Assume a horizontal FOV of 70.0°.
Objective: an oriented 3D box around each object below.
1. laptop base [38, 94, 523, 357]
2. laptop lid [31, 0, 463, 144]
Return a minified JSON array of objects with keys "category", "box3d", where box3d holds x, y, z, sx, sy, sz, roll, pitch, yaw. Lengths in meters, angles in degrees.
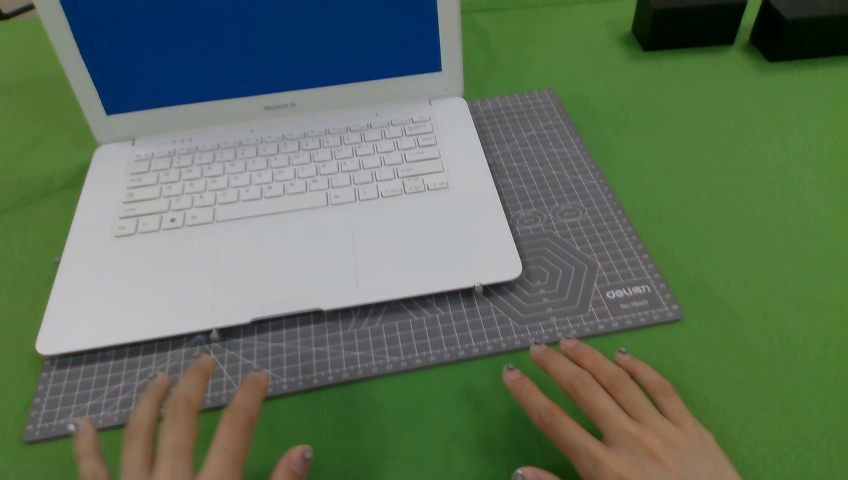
[{"category":"laptop base","box3d":[-0.116,-0.026,0.513,0.355,0.023,0.233,-9,51,-4]},{"category":"laptop lid","box3d":[-0.144,-0.206,0.518,0.357,0.244,0.013,-10,38,-3]}]
